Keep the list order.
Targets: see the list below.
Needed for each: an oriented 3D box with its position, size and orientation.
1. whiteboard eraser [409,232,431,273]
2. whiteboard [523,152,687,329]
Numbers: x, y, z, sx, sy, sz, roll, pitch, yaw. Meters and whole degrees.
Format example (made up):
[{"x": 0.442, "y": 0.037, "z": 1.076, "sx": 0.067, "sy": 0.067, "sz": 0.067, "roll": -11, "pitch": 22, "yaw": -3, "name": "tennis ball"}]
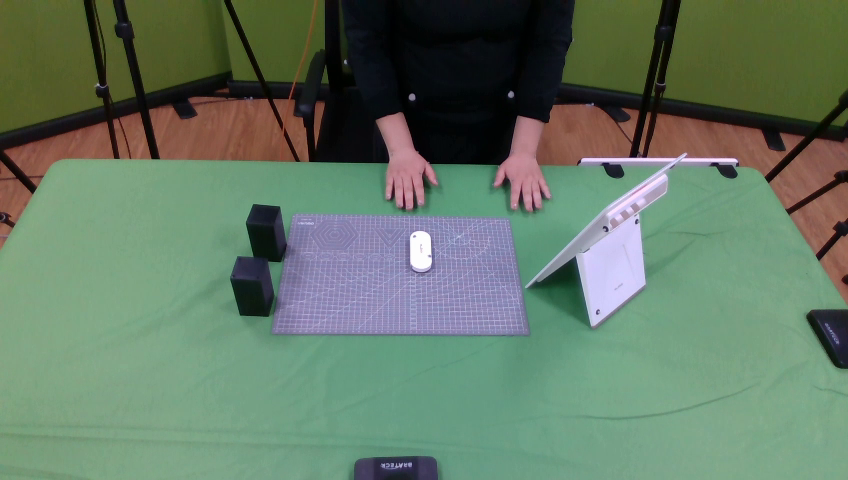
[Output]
[{"x": -0.008, "y": 0.023, "z": 1.173, "sx": 0.041, "sy": 0.019, "sz": 0.100, "roll": 1, "pitch": 45, "yaw": -2, "name": "whiteboard eraser"}, {"x": 0.346, "y": 0.024, "z": 1.047, "sx": 0.217, "sy": 0.306, "sz": 0.143, "roll": -30, "pitch": 74, "yaw": -29, "name": "whiteboard"}]
